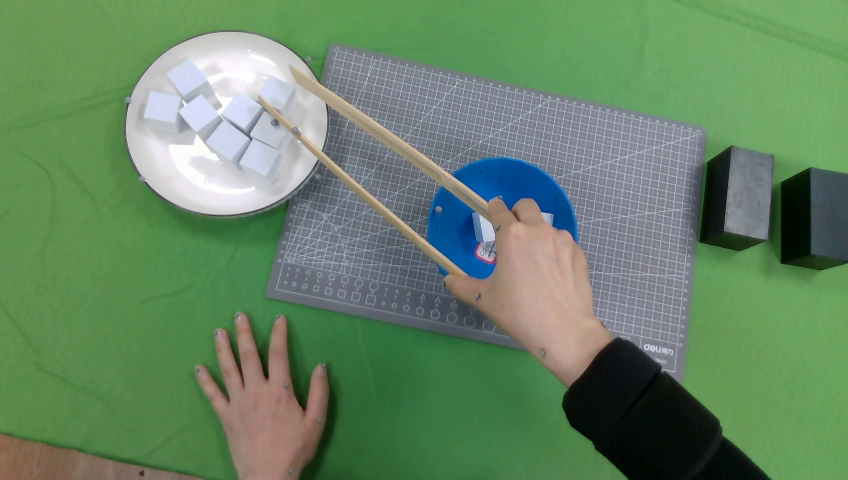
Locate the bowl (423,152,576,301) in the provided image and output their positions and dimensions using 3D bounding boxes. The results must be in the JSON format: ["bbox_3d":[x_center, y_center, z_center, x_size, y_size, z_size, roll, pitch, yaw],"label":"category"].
[{"bbox_3d":[0.071,-0.007,0.623,0.151,0.077,0.150,1,78,-6],"label":"bowl"}]

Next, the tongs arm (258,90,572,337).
[{"bbox_3d":[-0.028,-0.042,0.543,0.051,0.027,0.381,-39,63,-13],"label":"tongs arm"}]

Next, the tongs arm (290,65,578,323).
[{"bbox_3d":[-0.007,-0.061,0.550,0.028,0.028,0.384,-40,63,-17],"label":"tongs arm"}]

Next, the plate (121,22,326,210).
[{"bbox_3d":[-0.207,-0.129,0.644,0.208,0.039,0.206,1,78,-4],"label":"plate"}]
